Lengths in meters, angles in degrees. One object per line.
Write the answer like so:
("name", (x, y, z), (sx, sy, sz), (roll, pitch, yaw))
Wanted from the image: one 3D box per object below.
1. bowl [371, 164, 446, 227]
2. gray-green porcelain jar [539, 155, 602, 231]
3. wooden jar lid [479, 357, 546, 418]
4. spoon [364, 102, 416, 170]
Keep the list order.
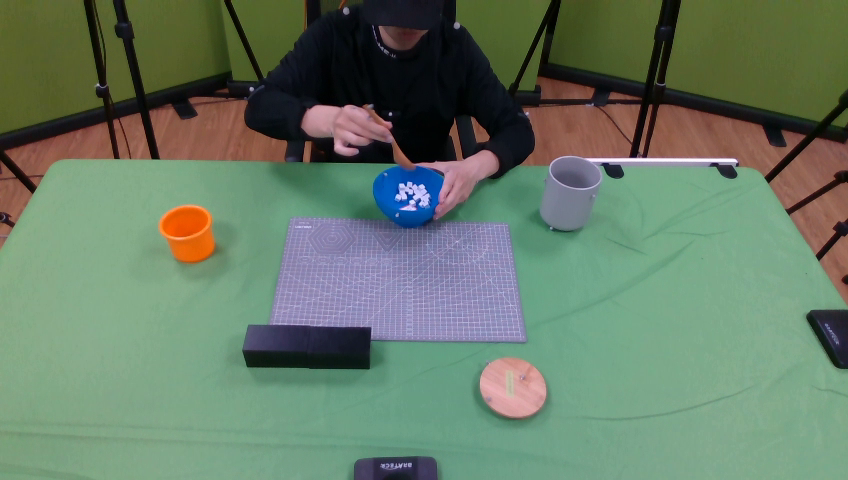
("bowl", (-0.032, -0.079, 1.229), (0.151, 0.077, 0.150), (2, 44, -2))
("gray-green porcelain jar", (0.294, -0.091, 1.235), (0.106, 0.127, 0.105), (2, 46, -2))
("wooden jar lid", (0.142, 0.240, 0.979), (0.108, 0.021, 0.107), (1, 46, -1))
("spoon", (-0.061, -0.181, 1.078), (0.041, 0.195, 0.021), (19, 67, 32))
